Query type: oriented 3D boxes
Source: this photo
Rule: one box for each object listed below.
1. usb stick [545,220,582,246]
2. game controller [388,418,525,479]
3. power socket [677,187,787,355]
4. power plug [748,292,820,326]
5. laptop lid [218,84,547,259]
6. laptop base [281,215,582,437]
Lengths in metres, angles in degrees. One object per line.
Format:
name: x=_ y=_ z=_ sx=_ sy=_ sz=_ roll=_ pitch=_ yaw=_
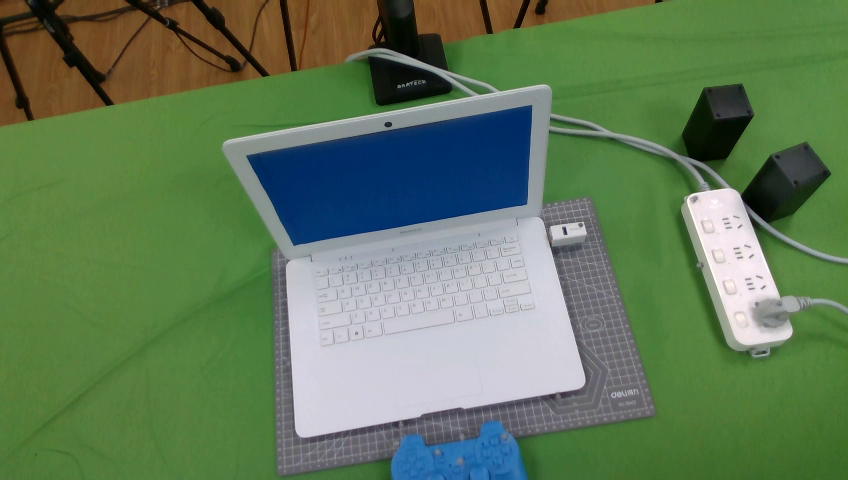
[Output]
usb stick: x=0.175 y=-0.008 z=0.794 sx=0.059 sy=0.027 sz=0.021 roll=-11 pitch=65 yaw=4
game controller: x=0.034 y=0.258 z=0.680 sx=0.155 sy=0.052 sz=0.096 roll=-9 pitch=63 yaw=0
power socket: x=0.384 y=0.031 z=0.764 sx=0.072 sy=0.033 sz=0.224 roll=-9 pitch=64 yaw=2
power plug: x=0.421 y=0.084 z=0.714 sx=0.072 sy=0.053 sz=0.035 roll=3 pitch=65 yaw=2
laptop lid: x=-0.033 y=-0.068 z=0.723 sx=0.357 sy=0.244 sz=0.013 roll=-11 pitch=56 yaw=1
laptop base: x=-0.001 y=0.102 z=0.772 sx=0.354 sy=0.023 sz=0.233 roll=-10 pitch=68 yaw=0
